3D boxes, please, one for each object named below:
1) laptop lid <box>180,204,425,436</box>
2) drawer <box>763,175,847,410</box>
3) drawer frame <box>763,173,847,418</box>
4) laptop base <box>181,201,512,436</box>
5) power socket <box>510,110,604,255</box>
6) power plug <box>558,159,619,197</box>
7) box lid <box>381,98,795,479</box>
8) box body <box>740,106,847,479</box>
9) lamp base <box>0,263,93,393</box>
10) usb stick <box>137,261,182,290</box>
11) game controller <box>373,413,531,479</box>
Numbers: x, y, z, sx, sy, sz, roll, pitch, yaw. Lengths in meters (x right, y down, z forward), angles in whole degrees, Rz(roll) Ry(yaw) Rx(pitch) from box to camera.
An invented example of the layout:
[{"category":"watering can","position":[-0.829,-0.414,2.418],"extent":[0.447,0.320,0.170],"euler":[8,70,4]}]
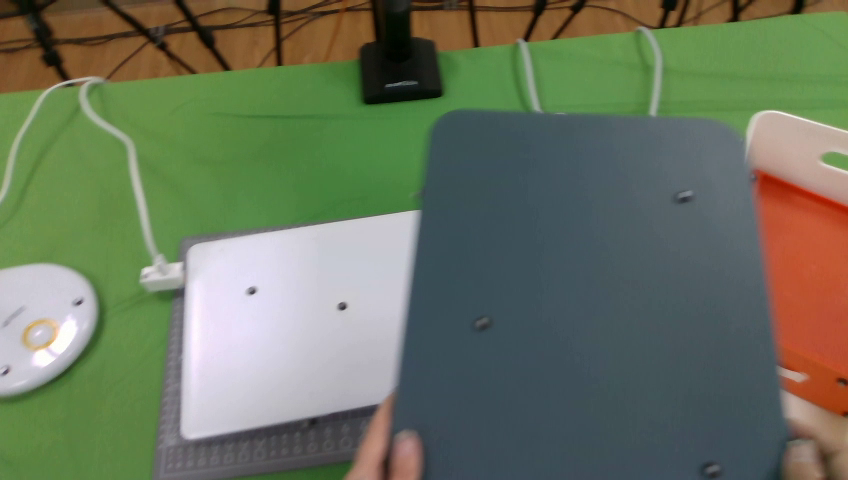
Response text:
[{"category":"laptop lid","position":[-0.096,0.074,0.686],"extent":[0.357,0.013,0.239],"euler":[-8,60,-4]},{"category":"drawer","position":[0.404,0.047,0.660],"extent":[0.193,0.074,0.211],"euler":[26,63,18]},{"category":"drawer frame","position":[0.399,0.047,0.663],"extent":[0.200,0.083,0.213],"euler":[27,58,15]},{"category":"laptop base","position":[-0.096,0.079,0.697],"extent":[0.355,0.023,0.233],"euler":[-9,62,-5]},{"category":"power socket","position":[0.169,-0.083,0.787],"extent":[0.072,0.033,0.224],"euler":[-8,58,-5]},{"category":"power plug","position":[0.203,-0.073,0.753],"extent":[0.072,0.053,0.035],"euler":[2,57,1]},{"category":"box lid","position":[0.120,0.048,0.444],"extent":[0.263,0.015,0.369],"euler":[5,65,7]},{"category":"box body","position":[0.388,0.070,0.610],"extent":[0.253,0.162,0.362],"euler":[22,61,14]},{"category":"lamp base","position":[-0.473,0.051,0.625],"extent":[0.178,0.182,0.159],"euler":[15,59,14]},{"category":"usb stick","position":[-0.301,0.041,0.709],"extent":[0.059,0.027,0.021],"euler":[-5,52,-6]},{"category":"game controller","position":[0.025,0.224,0.586],"extent":[0.155,0.052,0.096],"euler":[-7,55,-4]}]
